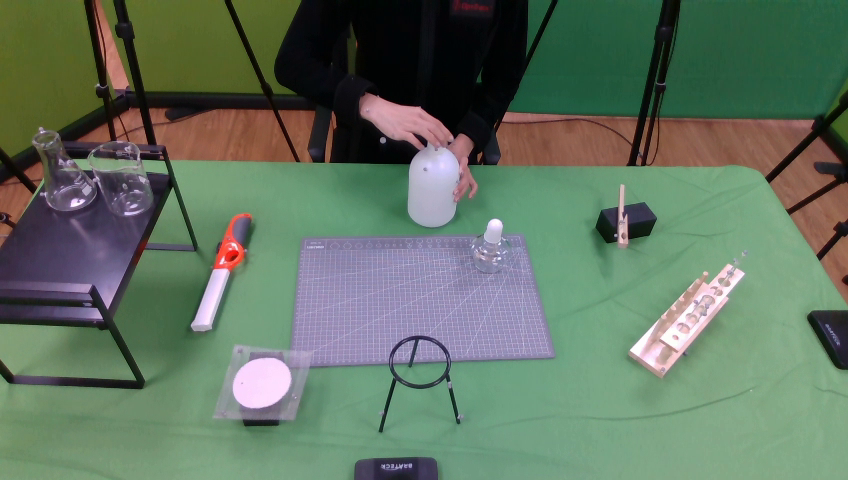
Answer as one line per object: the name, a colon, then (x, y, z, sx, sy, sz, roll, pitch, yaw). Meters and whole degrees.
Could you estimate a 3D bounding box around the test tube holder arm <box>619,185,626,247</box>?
test tube holder arm: (0.397, -0.052, 1.210, 0.013, 0.015, 0.177, 14, 46, 3)

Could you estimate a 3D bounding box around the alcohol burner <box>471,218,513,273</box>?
alcohol burner: (0.128, 0.005, 1.132, 0.078, 0.120, 0.077, 0, 47, 0)

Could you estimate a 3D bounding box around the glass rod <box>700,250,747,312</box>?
glass rod: (0.500, 0.075, 1.021, 0.008, 0.201, 0.008, 0, 54, 1)

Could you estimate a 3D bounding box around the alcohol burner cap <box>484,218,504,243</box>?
alcohol burner cap: (0.130, -0.021, 1.106, 0.034, 0.048, 0.033, 3, 51, -4)

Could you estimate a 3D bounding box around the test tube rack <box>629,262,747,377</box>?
test tube rack: (0.464, 0.126, 1.060, 0.242, 0.085, 0.066, -34, 56, -31)

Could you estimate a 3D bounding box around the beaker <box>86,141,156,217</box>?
beaker: (-0.467, -0.092, 0.950, 0.084, 0.101, 0.073, 15, 47, 11)

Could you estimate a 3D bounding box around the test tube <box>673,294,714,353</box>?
test tube: (0.428, 0.137, 0.978, 0.017, 0.151, 0.017, 4, 47, -4)

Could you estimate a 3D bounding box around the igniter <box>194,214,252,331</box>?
igniter: (-0.367, 0.050, 1.119, 0.057, 0.025, 0.275, -4, 45, 7)

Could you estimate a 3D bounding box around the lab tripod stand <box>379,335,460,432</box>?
lab tripod stand: (-0.011, 0.214, 0.911, 0.148, 0.132, 0.147, 1, 45, 0)

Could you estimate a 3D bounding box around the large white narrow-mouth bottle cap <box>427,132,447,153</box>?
large white narrow-mouth bottle cap: (0.025, -0.183, 1.134, 0.038, 0.024, 0.037, 2, 47, -2)

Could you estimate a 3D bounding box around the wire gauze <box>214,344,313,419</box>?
wire gauze: (-0.241, 0.213, 0.916, 0.121, 0.011, 0.124, 5, 46, 1)

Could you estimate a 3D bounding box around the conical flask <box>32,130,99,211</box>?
conical flask: (-0.565, -0.110, 0.944, 0.075, 0.122, 0.075, 2, 46, -2)

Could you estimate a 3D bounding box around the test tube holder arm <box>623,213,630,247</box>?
test tube holder arm: (0.393, -0.020, 1.179, 0.010, 0.015, 0.087, 13, 46, 2)

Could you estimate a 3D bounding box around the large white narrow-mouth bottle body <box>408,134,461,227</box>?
large white narrow-mouth bottle body: (0.021, -0.124, 1.197, 0.102, 0.195, 0.101, 2, 47, -2)
